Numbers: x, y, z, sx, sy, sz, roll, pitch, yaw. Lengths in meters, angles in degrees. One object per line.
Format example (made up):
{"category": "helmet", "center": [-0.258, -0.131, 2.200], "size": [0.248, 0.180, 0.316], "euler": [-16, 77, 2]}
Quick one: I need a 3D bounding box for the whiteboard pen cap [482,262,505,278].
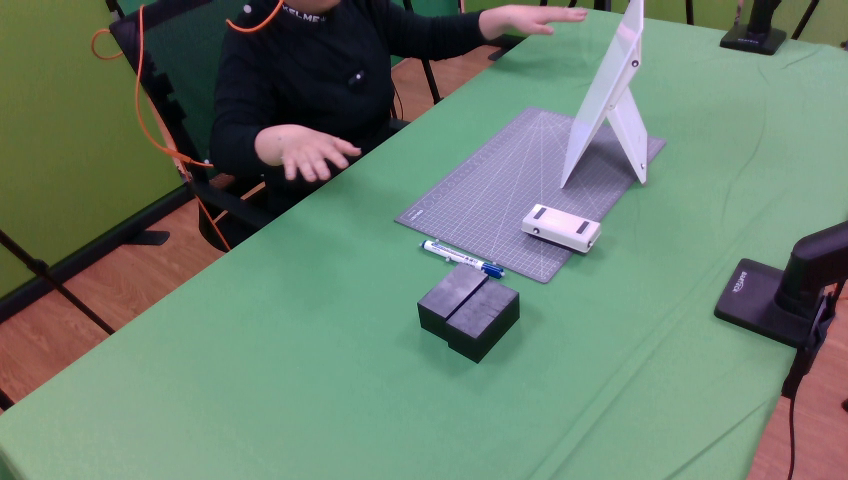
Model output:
{"category": "whiteboard pen cap", "center": [0.104, 0.044, 0.912], "size": [0.033, 0.018, 0.018], "euler": [22, 48, 29]}

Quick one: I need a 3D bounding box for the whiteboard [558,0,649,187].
{"category": "whiteboard", "center": [0.361, -0.238, 1.026], "size": [0.144, 0.306, 0.217], "euler": [21, 44, 3]}

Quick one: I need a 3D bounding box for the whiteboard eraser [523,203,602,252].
{"category": "whiteboard eraser", "center": [0.216, -0.018, 0.945], "size": [0.112, 0.042, 0.056], "euler": [20, 46, 29]}

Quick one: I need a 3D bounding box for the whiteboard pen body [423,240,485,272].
{"category": "whiteboard pen body", "center": [0.057, 0.027, 0.942], "size": [0.139, 0.017, 0.017], "euler": [22, 48, 30]}
